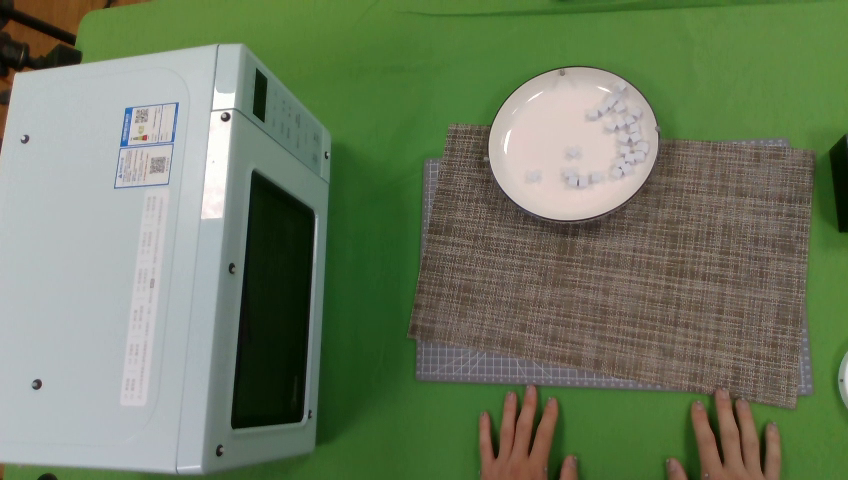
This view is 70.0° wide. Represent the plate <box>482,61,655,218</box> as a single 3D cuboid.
[{"bbox_3d":[0.180,-0.124,0.764,0.208,0.038,0.208,-3,75,13],"label":"plate"}]

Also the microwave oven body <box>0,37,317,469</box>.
[{"bbox_3d":[-0.323,0.030,0.740,0.325,0.262,0.439,-3,77,13],"label":"microwave oven body"}]

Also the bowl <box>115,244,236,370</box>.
[{"bbox_3d":[-0.291,0.087,0.752,0.151,0.077,0.150,-3,76,13],"label":"bowl"}]

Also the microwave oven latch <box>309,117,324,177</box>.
[{"bbox_3d":[-0.154,-0.128,0.835,0.030,0.030,0.079,-3,78,13],"label":"microwave oven latch"}]

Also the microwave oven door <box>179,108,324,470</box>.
[{"bbox_3d":[-0.183,0.062,0.692,0.039,0.245,0.354,-3,77,14],"label":"microwave oven door"}]

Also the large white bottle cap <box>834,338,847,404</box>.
[{"bbox_3d":[0.499,0.143,0.637,0.114,0.018,0.114,-3,77,13],"label":"large white bottle cap"}]
